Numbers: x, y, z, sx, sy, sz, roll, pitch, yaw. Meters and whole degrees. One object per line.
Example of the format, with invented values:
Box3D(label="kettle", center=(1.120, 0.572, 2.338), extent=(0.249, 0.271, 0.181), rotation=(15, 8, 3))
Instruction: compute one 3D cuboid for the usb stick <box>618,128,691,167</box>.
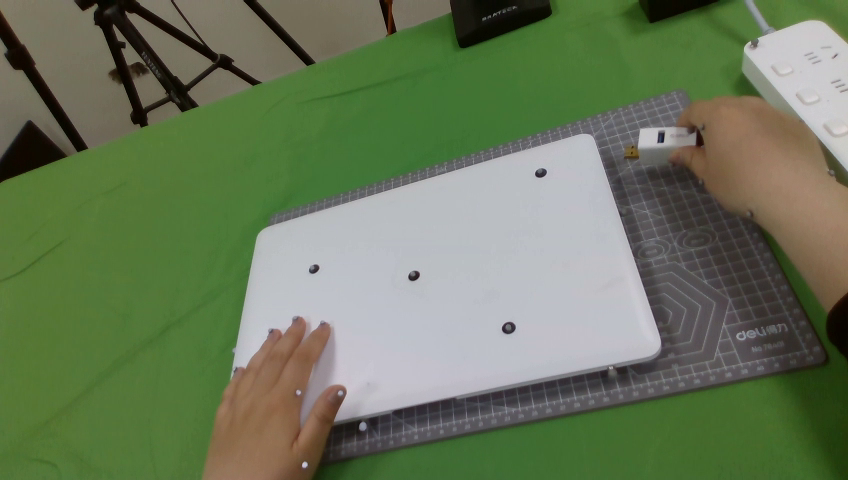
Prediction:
Box3D(label="usb stick", center=(0.191, -0.076, 0.507), extent=(0.059, 0.027, 0.021), rotation=(-1, 61, 30))

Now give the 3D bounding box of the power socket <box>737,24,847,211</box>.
Box3D(label="power socket", center=(0.329, -0.102, 0.485), extent=(0.072, 0.033, 0.224), rotation=(-17, 46, 10))

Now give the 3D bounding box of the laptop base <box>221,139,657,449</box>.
Box3D(label="laptop base", center=(-0.006, 0.041, 0.531), extent=(0.354, 0.023, 0.233), rotation=(-15, 50, 13))

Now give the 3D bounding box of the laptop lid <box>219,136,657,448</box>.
Box3D(label="laptop lid", center=(-0.010, 0.036, 0.521), extent=(0.356, 0.013, 0.239), rotation=(-14, 49, 15))
